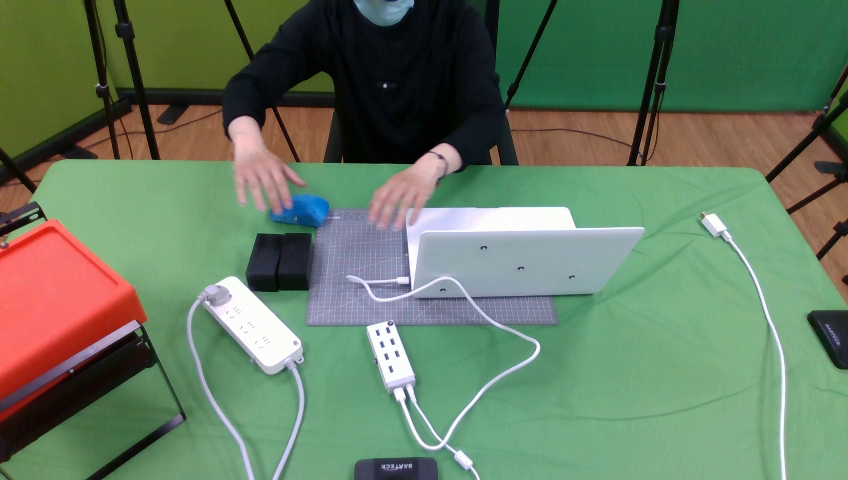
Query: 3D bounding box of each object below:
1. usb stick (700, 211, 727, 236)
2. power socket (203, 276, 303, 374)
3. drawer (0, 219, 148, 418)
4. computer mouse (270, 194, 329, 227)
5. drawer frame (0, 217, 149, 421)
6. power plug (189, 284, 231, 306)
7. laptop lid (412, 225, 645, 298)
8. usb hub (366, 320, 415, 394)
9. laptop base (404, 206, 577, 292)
[{"bbox_3d":[0.606,-0.038,1.273,0.027,0.021,0.059,-18,56,-20],"label":"usb stick"},{"bbox_3d":[-0.296,0.141,1.034,0.072,0.033,0.225,-35,58,-30],"label":"power socket"},{"bbox_3d":[-0.509,0.093,0.783,0.193,0.073,0.211,32,53,24],"label":"drawer"},{"bbox_3d":[-0.254,-0.064,1.228,0.117,0.041,0.062,5,49,10],"label":"computer mouse"},{"bbox_3d":[-0.510,0.093,0.780,0.201,0.083,0.213,31,52,23],"label":"drawer frame"},{"bbox_3d":[-0.368,0.100,1.037,0.072,0.053,0.035,-24,54,-26],"label":"power plug"},{"bbox_3d":[0.161,0.042,1.012,0.357,0.242,0.013,0,59,-7],"label":"laptop lid"},{"bbox_3d":[-0.056,0.192,1.009,0.049,0.025,0.124,-12,49,-16],"label":"usb hub"},{"bbox_3d":[0.143,0.018,1.196,0.355,0.023,0.234,-1,43,-6],"label":"laptop base"}]
